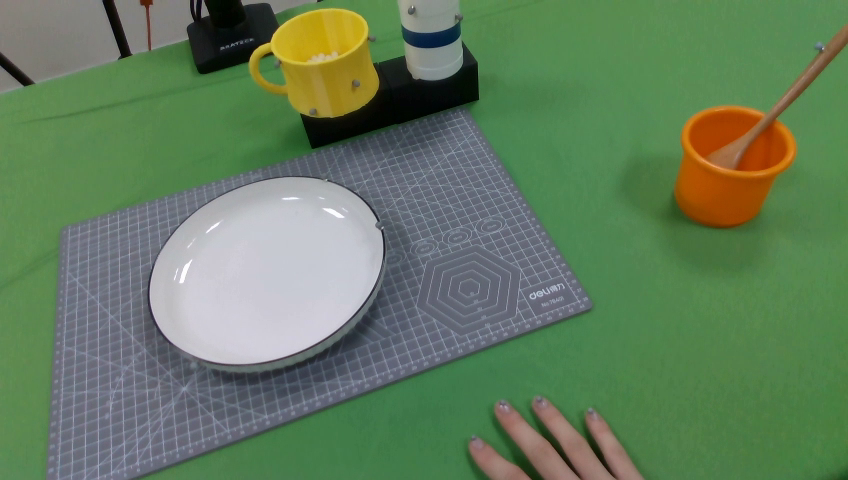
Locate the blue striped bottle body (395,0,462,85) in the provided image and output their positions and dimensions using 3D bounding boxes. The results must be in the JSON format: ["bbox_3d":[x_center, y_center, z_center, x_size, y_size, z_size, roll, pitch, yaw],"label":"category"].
[{"bbox_3d":[0.004,-0.227,0.622,0.063,0.122,0.062,-4,50,5],"label":"blue striped bottle body"}]

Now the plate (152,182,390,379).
[{"bbox_3d":[-0.131,0.033,0.541,0.207,0.039,0.205,-4,50,5],"label":"plate"}]

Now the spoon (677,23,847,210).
[{"bbox_3d":[0.293,-0.105,0.523,0.194,0.022,0.041,-51,48,18],"label":"spoon"}]

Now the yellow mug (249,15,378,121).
[{"bbox_3d":[-0.118,-0.178,0.634,0.131,0.064,0.099,-8,49,2],"label":"yellow mug"}]
